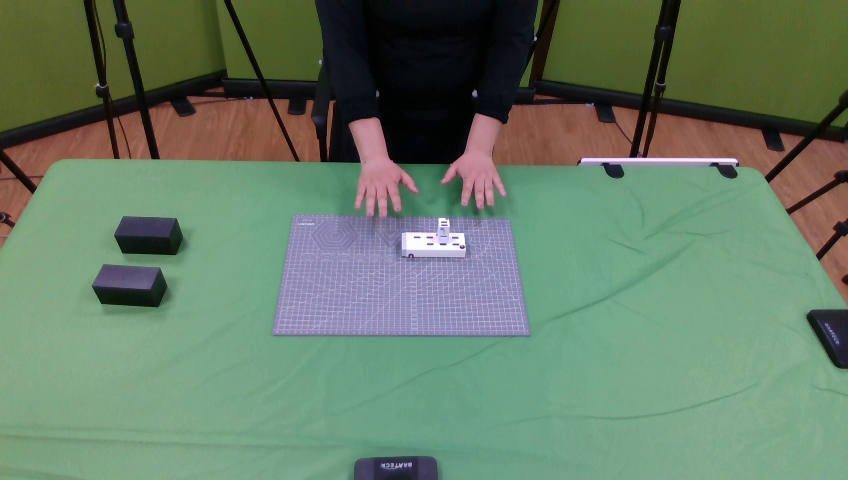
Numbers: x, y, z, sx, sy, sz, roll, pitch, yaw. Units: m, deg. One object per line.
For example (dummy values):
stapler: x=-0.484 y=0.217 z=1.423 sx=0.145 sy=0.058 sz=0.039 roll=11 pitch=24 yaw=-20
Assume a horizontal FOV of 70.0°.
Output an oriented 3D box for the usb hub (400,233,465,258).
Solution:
usb hub: x=0.017 y=0.011 z=1.182 sx=0.125 sy=0.025 sz=0.049 roll=1 pitch=46 yaw=-3

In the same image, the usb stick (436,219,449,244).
usb stick: x=0.035 y=-0.012 z=1.166 sx=0.021 sy=0.059 sz=0.027 roll=-2 pitch=48 yaw=-6
